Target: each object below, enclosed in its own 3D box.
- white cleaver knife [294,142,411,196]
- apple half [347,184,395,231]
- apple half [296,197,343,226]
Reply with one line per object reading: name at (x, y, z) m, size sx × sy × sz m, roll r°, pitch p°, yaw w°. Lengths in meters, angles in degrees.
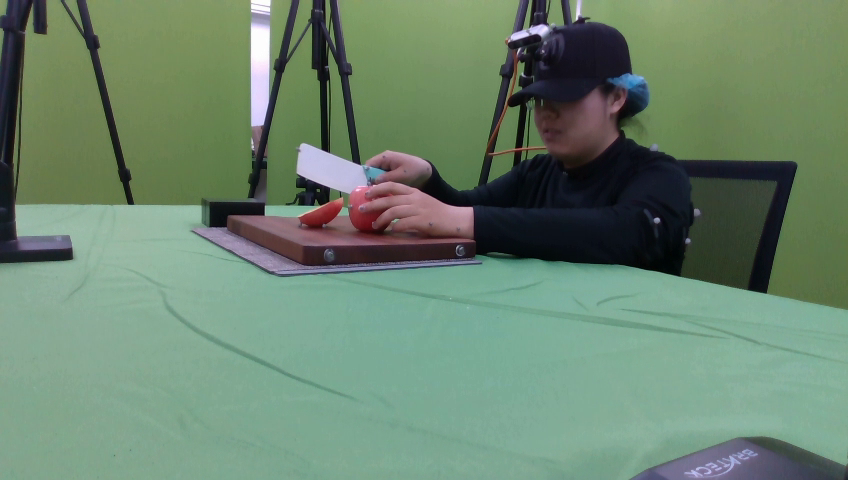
white cleaver knife at (-0.120, -0.108, 1.064) m, size 0.021 × 0.066 × 0.288 m, roll -5°, pitch -11°, yaw 38°
apple half at (-0.075, -0.049, 0.948) m, size 0.053 × 0.074 × 0.081 m, roll 13°, pitch 8°, yaw 33°
apple half at (-0.163, -0.041, 0.979) m, size 0.081 × 0.033 × 0.081 m, roll -21°, pitch 7°, yaw 3°
